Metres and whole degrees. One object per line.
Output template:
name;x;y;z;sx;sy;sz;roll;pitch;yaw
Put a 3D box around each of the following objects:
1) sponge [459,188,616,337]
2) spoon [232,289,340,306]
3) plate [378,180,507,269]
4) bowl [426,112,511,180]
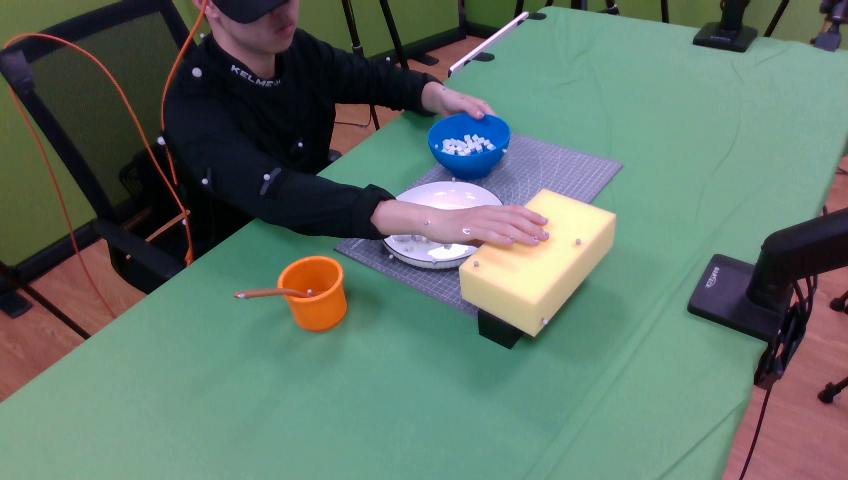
sponge;0.156;0.022;0.814;0.117;0.061;0.207;25;50;32
spoon;-0.181;0.075;0.811;0.041;0.195;0.021;17;90;31
plate;0.031;-0.022;0.974;0.209;0.038;0.208;-4;40;4
bowl;0.083;-0.162;1.097;0.151;0.077;0.150;-4;41;4
